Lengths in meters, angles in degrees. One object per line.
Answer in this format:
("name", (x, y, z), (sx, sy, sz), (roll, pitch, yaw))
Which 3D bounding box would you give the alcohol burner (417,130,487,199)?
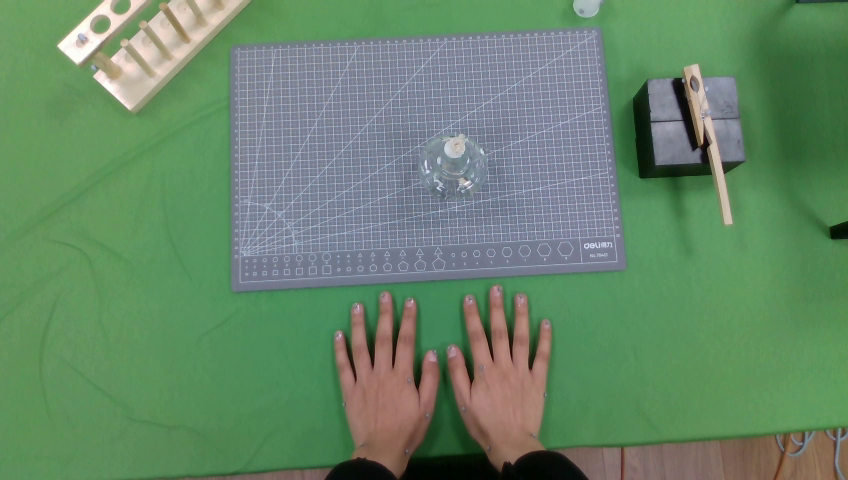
("alcohol burner", (0.031, -0.087, 0.653), (0.078, 0.119, 0.077), (0, 79, -1))

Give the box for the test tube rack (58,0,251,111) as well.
("test tube rack", (-0.287, -0.270, 0.699), (0.066, 0.085, 0.242), (42, 83, 7))

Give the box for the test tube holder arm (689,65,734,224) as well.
("test tube holder arm", (0.311, -0.104, 0.659), (0.013, 0.015, 0.178), (-14, 84, 15))

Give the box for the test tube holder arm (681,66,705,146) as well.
("test tube holder arm", (0.297, -0.147, 0.665), (0.010, 0.015, 0.087), (-12, 85, 16))

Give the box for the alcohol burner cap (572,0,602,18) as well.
("alcohol burner cap", (0.200, -0.293, 0.728), (0.034, 0.048, 0.033), (0, 80, 0))
